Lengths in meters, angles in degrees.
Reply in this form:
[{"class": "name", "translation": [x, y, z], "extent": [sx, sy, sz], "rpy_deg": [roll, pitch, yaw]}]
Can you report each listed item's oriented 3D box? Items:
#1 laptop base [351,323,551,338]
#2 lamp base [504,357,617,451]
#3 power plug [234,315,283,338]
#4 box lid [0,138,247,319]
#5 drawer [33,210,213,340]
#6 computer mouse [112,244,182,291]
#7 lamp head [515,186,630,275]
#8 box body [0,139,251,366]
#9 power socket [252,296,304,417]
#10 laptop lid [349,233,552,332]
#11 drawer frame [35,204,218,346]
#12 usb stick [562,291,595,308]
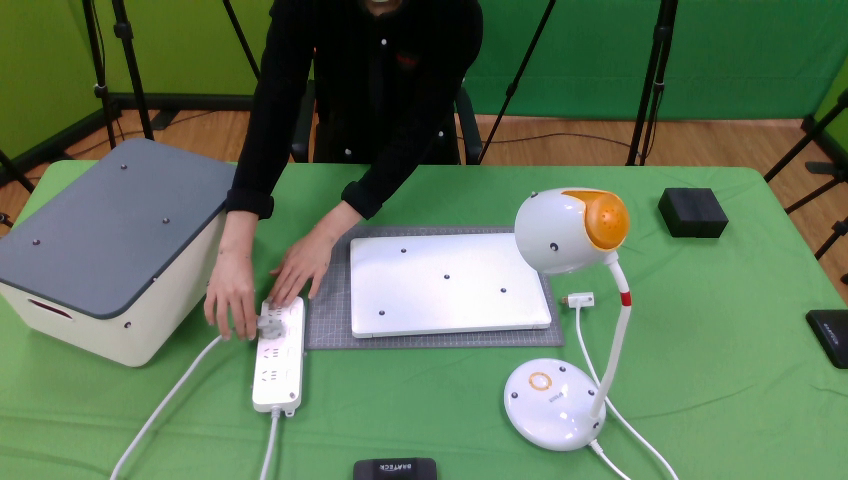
[{"class": "laptop base", "translation": [0.040, 0.080, 1.126], "extent": [0.355, 0.023, 0.234], "rpy_deg": [-2, 43, -6]}, {"class": "lamp base", "translation": [0.220, 0.211, 0.903], "extent": [0.160, 0.181, 0.178], "rpy_deg": [-32, 59, -30]}, {"class": "power plug", "translation": [-0.270, 0.143, 0.999], "extent": [0.072, 0.053, 0.035], "rpy_deg": [6, 46, 2]}, {"class": "box lid", "translation": [-0.494, -0.037, 0.994], "extent": [0.263, 0.015, 0.370], "rpy_deg": [17, 46, 12]}, {"class": "drawer", "translation": [-0.509, 0.054, 1.046], "extent": [0.194, 0.073, 0.211], "rpy_deg": [15, 43, 11]}, {"class": "computer mouse", "translation": [-0.493, 0.046, 1.078], "extent": [0.117, 0.041, 0.062], "rpy_deg": [24, 41, 13]}, {"class": "lamp head", "translation": [0.188, -0.013, 0.728], "extent": [0.112, 0.112, 0.122], "rpy_deg": [-25, 9, -25]}, {"class": "box body", "translation": [-0.496, 0.013, 1.048], "extent": [0.254, 0.161, 0.362], "rpy_deg": [17, 47, 12]}, {"class": "power socket", "translation": [-0.237, 0.182, 0.997], "extent": [0.072, 0.033, 0.225], "rpy_deg": [-3, 47, -5]}, {"class": "laptop lid", "translation": [0.040, 0.070, 1.119], "extent": [0.357, 0.013, 0.240], "rpy_deg": [-1, 44, -5]}, {"class": "drawer frame", "translation": [-0.505, 0.054, 1.052], "extent": [0.201, 0.083, 0.212], "rpy_deg": [14, 52, 12]}, {"class": "usb stick", "translation": [0.280, 0.109, 1.105], "extent": [0.059, 0.021, 0.027], "rpy_deg": [-6, 13, 23]}]
